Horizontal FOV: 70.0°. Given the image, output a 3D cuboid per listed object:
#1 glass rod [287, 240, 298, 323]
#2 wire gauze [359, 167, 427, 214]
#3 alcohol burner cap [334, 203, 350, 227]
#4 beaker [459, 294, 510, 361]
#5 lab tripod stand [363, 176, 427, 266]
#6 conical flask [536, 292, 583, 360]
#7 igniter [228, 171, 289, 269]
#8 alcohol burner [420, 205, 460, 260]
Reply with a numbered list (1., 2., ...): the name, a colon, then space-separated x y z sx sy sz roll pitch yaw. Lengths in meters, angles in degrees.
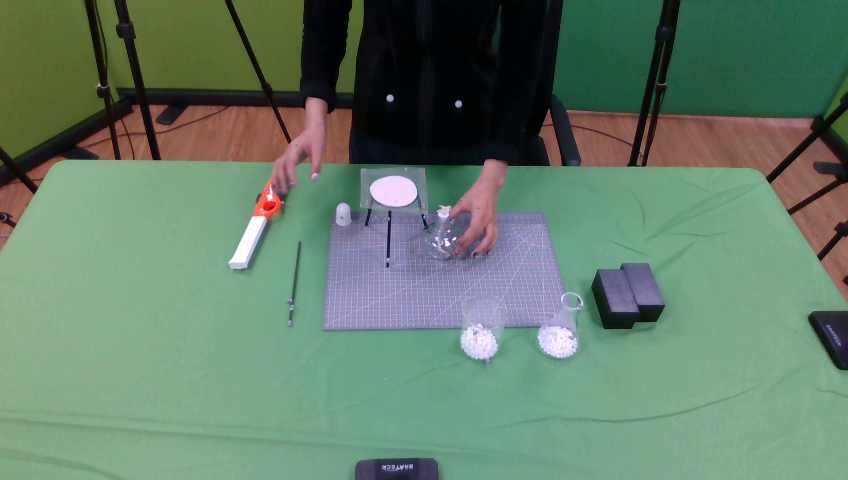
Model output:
1. glass rod: -0.242 0.071 1.119 0.008 0.008 0.198 -1 47 -5
2. wire gauze: -0.059 -0.093 1.110 0.125 0.011 0.120 2 45 -5
3. alcohol burner cap: -0.166 -0.054 1.221 0.034 0.048 0.033 3 46 -3
4. beaker: 0.095 0.147 1.012 0.083 0.101 0.074 26 49 21
5. lab tripod stand: -0.058 -0.047 1.159 0.148 0.132 0.147 3 44 -2
6. conical flask: 0.234 0.139 1.015 0.075 0.122 0.075 2 46 -2
7. igniter: -0.328 -0.049 1.218 0.057 0.025 0.275 0 45 11
8. alcohol burner: 0.032 -0.018 1.153 0.078 0.119 0.077 2 44 -2
